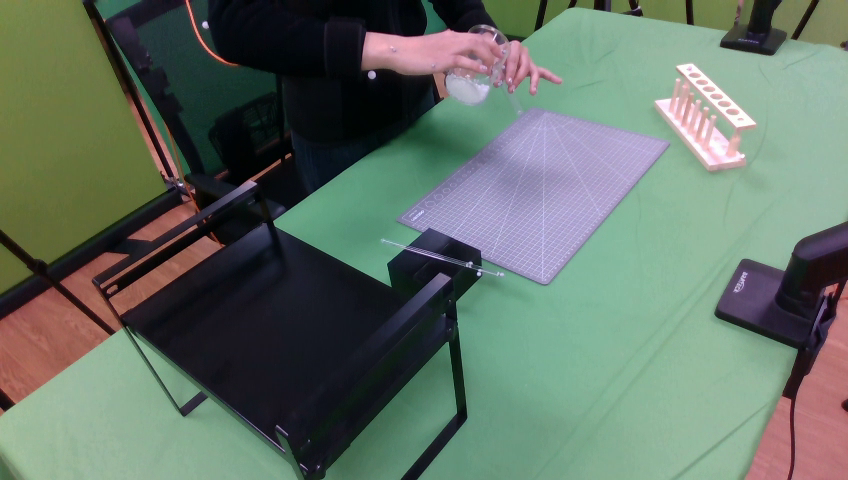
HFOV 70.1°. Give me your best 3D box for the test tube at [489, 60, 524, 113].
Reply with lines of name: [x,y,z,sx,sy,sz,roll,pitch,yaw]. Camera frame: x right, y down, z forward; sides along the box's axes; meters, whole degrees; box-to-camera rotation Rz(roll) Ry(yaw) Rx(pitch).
test tube: [0.144,-0.260,1.038,0.017,0.151,0.017,-10,66,24]

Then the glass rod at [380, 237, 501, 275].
glass rod: [0.020,0.023,0.881,0.198,0.008,0.008,16,46,25]

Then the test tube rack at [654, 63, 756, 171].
test tube rack: [0.510,-0.233,1.120,0.067,0.085,0.241,-8,41,-1]

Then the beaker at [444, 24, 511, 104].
beaker: [0.080,-0.265,0.929,0.073,0.084,0.100,19,68,25]
